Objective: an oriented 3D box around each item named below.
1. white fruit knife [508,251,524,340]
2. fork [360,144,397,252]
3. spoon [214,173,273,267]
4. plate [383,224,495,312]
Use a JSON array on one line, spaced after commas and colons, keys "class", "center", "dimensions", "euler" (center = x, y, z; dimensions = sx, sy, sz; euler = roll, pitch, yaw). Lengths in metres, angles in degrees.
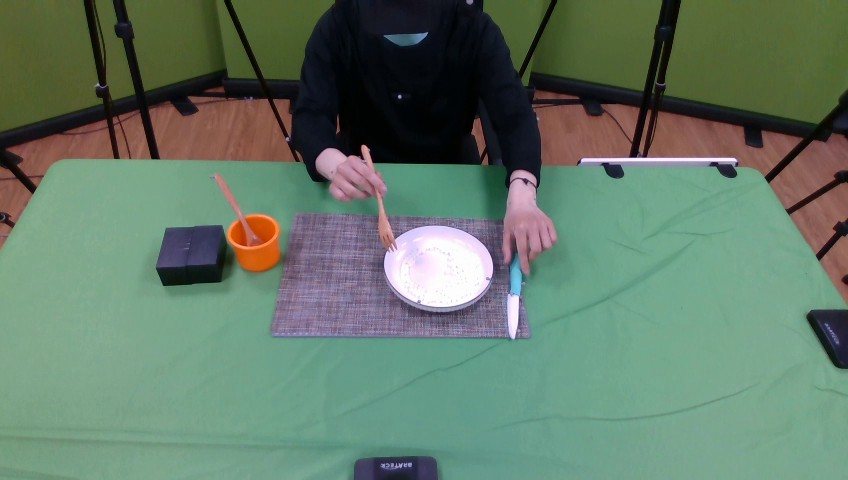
[{"class": "white fruit knife", "center": [0.169, 0.098, 1.113], "dimensions": [0.027, 0.016, 0.206], "euler": [-14, 43, 24]}, {"class": "fork", "center": [-0.084, -0.077, 1.082], "dimensions": [0.019, 0.028, 0.206], "euler": [5, 66, -54]}, {"class": "spoon", "center": [-0.336, -0.037, 1.121], "dimensions": [0.041, 0.194, 0.021], "euler": [-29, 10, -25]}, {"class": "plate", "center": [0.026, 0.055, 1.128], "dimensions": [0.209, 0.038, 0.208], "euler": [2, 46, -2]}]
